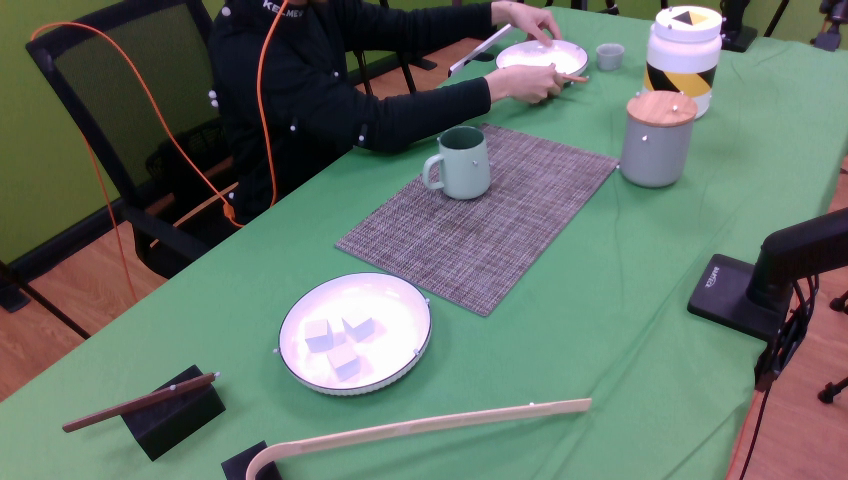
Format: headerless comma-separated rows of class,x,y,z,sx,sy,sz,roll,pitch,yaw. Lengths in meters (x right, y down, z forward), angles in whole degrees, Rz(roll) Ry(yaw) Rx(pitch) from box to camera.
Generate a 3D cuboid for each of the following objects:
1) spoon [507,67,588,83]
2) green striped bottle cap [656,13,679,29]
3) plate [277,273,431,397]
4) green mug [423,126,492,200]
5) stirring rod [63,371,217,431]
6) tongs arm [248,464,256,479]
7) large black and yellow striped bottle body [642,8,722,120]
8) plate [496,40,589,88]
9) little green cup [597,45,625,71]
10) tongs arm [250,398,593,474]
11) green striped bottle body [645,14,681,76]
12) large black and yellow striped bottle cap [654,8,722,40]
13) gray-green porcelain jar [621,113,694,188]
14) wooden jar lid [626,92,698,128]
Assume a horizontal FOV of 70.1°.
spoon,0.265,-0.357,1.311,0.192,0.022,0.042,17,46,38
green striped bottle cap,0.515,-0.463,1.278,0.044,0.020,0.044,-6,42,6
plate,-0.091,0.129,0.821,0.207,0.039,0.206,-4,40,4
green mug,0.055,-0.125,1.039,0.126,0.105,0.091,-25,44,-18
stirring rod,-0.337,0.192,0.723,0.177,0.014,0.005,-18,43,-12
tongs arm,0.012,0.262,0.615,0.385,0.026,0.050,3,42,-2
large black and yellow striped bottle body,0.493,-0.334,1.161,0.131,0.185,0.130,-4,41,4
plate,0.269,-0.398,1.381,0.209,0.038,0.208,-4,41,4
little green cup,0.422,-0.413,1.375,0.061,0.039,0.061,-3,41,3
tongs arm,0.008,0.212,0.675,0.389,0.028,0.028,-5,46,-11
green striped bottle body,0.520,-0.424,1.312,0.063,0.120,0.063,-4,41,4
large black and yellow striped bottle cap,0.483,-0.397,1.108,0.115,0.019,0.114,-3,41,3
gray-green porcelain jar,0.390,-0.161,1.020,0.106,0.127,0.105,-4,41,4
wooden jar lid,0.384,-0.207,0.980,0.108,0.021,0.108,-6,39,5
